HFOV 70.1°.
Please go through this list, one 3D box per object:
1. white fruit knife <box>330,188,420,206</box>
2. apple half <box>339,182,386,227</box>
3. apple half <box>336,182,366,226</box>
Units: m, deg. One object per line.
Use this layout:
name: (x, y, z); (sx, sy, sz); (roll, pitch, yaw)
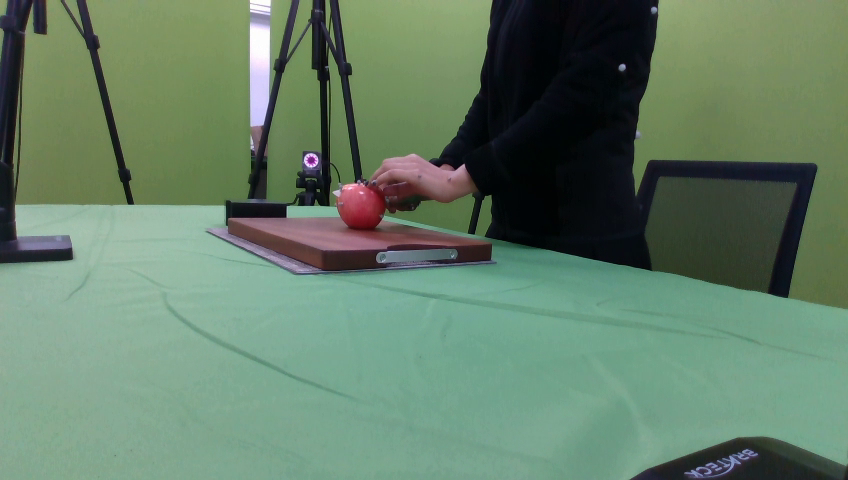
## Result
white fruit knife: (-0.079, -0.077, 1.037); (0.016, 0.027, 0.208); (9, 6, 41)
apple half: (-0.093, -0.056, 0.987); (0.053, 0.074, 0.081); (15, 10, 39)
apple half: (-0.123, -0.061, 1.013); (0.032, 0.081, 0.082); (10, 10, 40)
